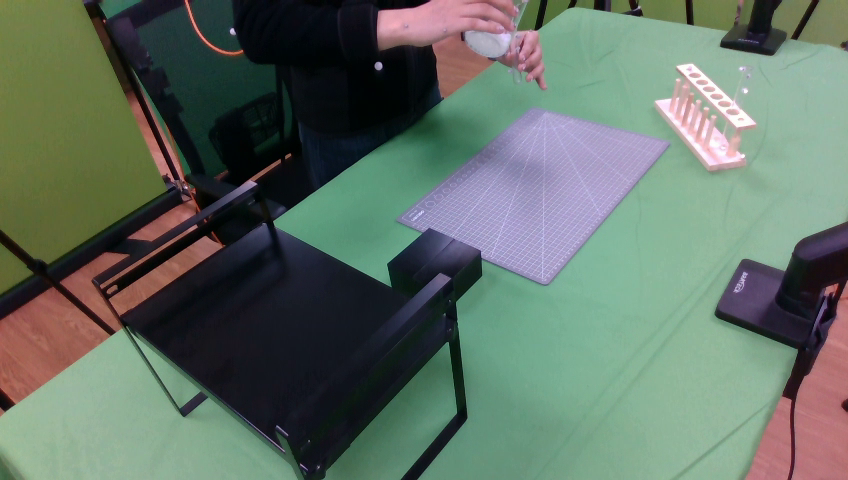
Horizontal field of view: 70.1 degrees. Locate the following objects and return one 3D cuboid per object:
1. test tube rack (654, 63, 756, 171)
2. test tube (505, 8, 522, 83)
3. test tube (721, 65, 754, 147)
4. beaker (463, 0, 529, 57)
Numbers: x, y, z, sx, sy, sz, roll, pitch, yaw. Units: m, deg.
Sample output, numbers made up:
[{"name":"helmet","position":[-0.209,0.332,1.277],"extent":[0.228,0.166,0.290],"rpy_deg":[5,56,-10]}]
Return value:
[{"name":"test tube rack","position":[0.511,-0.233,1.120],"extent":[0.067,0.085,0.241],"rpy_deg":[-8,41,-1]},{"name":"test tube","position":[0.149,-0.316,0.995],"extent":[0.017,0.151,0.017],"rpy_deg":[-6,57,11]},{"name":"test tube","position":[0.534,-0.226,1.031],"extent":[0.017,0.151,0.017],"rpy_deg":[-2,40,2]},{"name":"beaker","position":[0.106,-0.327,0.887],"extent":[0.073,0.084,0.100],"rpy_deg":[20,79,17]}]
